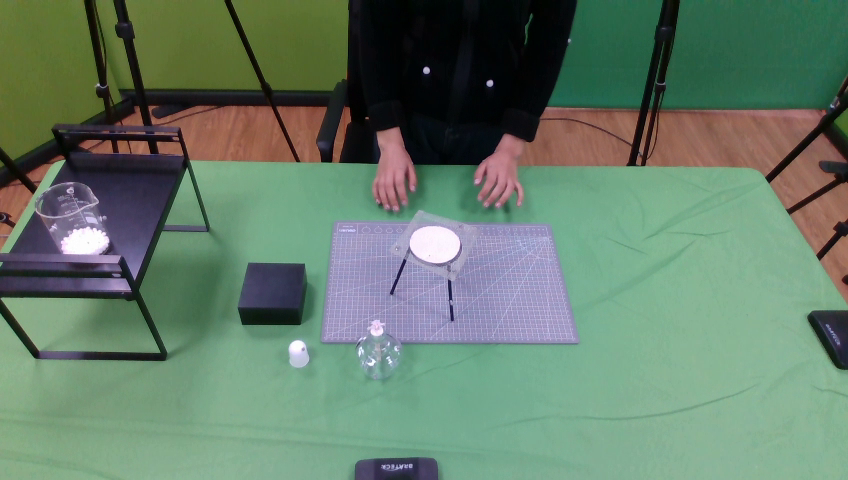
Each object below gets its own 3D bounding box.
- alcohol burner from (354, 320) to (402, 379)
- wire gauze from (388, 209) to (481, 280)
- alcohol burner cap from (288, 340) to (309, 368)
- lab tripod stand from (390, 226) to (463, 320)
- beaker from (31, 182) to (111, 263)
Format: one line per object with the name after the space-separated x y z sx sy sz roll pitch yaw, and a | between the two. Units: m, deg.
-0.074 0.169 0.964 0.078 0.120 0.077 1 46 -1 | alcohol burner
0.018 0.002 1.019 0.125 0.011 0.121 21 49 16 | wire gauze
-0.207 0.183 0.991 0.034 0.048 0.033 3 47 -3 | alcohol burner cap
0.014 0.053 1.063 0.148 0.132 0.147 1 48 -1 | lab tripod stand
-0.502 -0.022 0.877 0.084 0.101 0.073 -2 47 -7 | beaker
